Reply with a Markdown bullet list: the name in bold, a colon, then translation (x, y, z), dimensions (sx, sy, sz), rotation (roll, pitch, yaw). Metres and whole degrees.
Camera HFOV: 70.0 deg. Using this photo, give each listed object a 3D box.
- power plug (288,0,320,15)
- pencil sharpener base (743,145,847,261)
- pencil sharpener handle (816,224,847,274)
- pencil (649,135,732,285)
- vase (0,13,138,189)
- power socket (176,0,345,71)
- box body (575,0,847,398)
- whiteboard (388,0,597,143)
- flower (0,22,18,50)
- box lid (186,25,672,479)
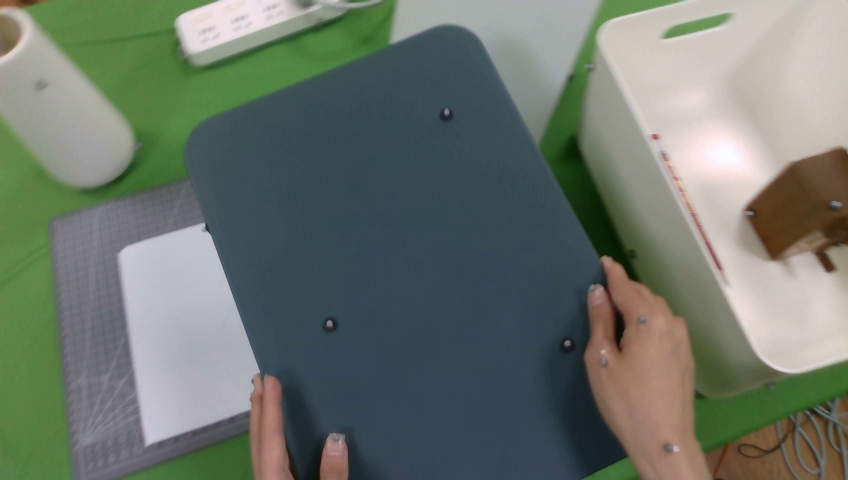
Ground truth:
- **power plug**: translation (-0.150, -0.290, 0.758), dimensions (0.035, 0.053, 0.072), rotation (-14, 68, -5)
- **pencil sharpener base**: translation (0.388, -0.032, 0.611), dimensions (0.061, 0.108, 0.076), rotation (-16, 67, -8)
- **pencil sharpener handle**: translation (0.404, 0.007, 0.580), dimensions (0.036, 0.068, 0.030), rotation (-17, 67, -4)
- **pencil**: translation (0.292, -0.037, 0.667), dimensions (0.012, 0.012, 0.192), rotation (-16, 66, -6)
- **vase**: translation (-0.383, -0.135, 0.626), dimensions (0.098, 0.201, 0.097), rotation (-1, 65, 2)
- **power socket**: translation (-0.209, -0.284, 0.781), dimensions (0.227, 0.033, 0.071), rotation (-23, 68, -10)
- **box body**: translation (0.331, -0.051, 0.597), dimensions (0.254, 0.161, 0.361), rotation (-16, 66, -6)
- **whiteboard**: translation (0.099, -0.274, 0.656), dimensions (0.216, 0.307, 0.143), rotation (34, 51, 16)
- **flower**: translation (-0.385, -0.187, 0.559), dimensions (0.038, 0.365, 0.043), rotation (-30, 50, -19)
- **box lid**: translation (-0.009, 0.020, 0.460), dimensions (0.263, 0.015, 0.369), rotation (-24, 75, -5)
